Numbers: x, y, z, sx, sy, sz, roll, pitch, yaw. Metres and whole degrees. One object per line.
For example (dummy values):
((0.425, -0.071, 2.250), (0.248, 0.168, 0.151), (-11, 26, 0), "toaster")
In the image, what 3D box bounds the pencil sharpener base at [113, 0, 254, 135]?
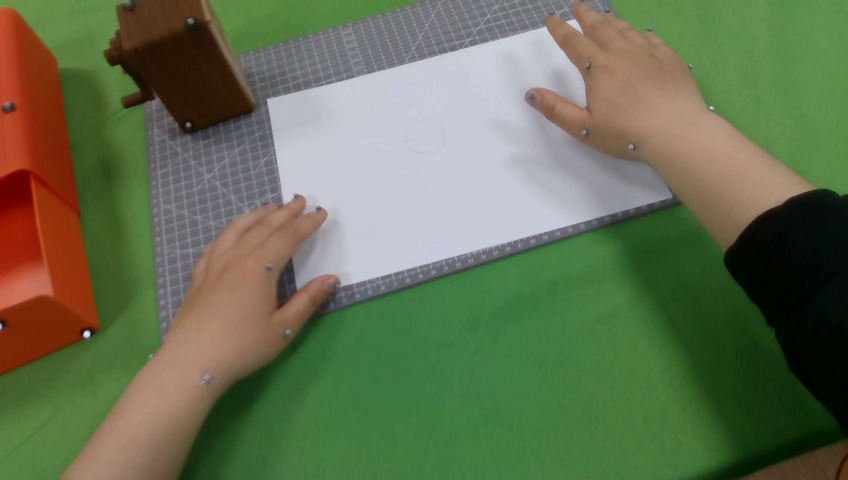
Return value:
((-0.205, -0.153, 0.522), (0.077, 0.108, 0.061), (-22, 61, -5), "pencil sharpener base")

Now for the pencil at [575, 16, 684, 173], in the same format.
((0.170, -0.132, 0.518), (0.012, 0.012, 0.192), (-18, 59, -3), "pencil")

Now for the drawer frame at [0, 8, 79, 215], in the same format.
((-0.424, -0.076, 0.524), (0.202, 0.083, 0.211), (-24, 60, -6), "drawer frame")

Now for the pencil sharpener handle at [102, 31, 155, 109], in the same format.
((-0.253, -0.138, 0.506), (0.030, 0.068, 0.035), (-22, 57, -5), "pencil sharpener handle")

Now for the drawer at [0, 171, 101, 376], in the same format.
((-0.376, 0.016, 0.470), (0.194, 0.074, 0.209), (-25, 61, -6), "drawer")
